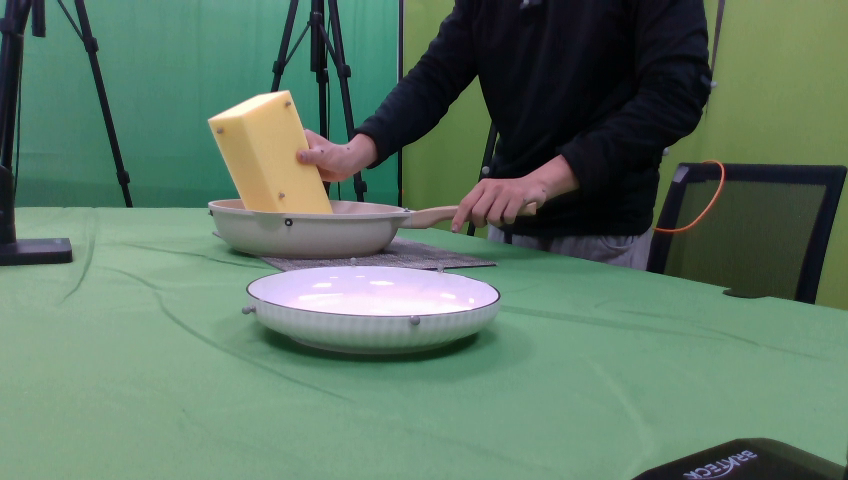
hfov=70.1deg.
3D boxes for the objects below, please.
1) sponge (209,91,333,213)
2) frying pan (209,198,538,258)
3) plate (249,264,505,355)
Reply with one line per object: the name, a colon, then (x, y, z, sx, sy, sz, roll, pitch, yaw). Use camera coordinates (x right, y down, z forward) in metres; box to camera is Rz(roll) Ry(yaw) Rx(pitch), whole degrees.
sponge: (-0.220, -0.102, 0.898, 0.060, 0.207, 0.118, -3, 29, 26)
frying pan: (-0.075, -0.034, 0.912, 0.487, 0.102, 0.307, -5, 7, 12)
plate: (-0.037, 0.056, 0.504, 0.208, 0.039, 0.207, 2, 7, 0)
